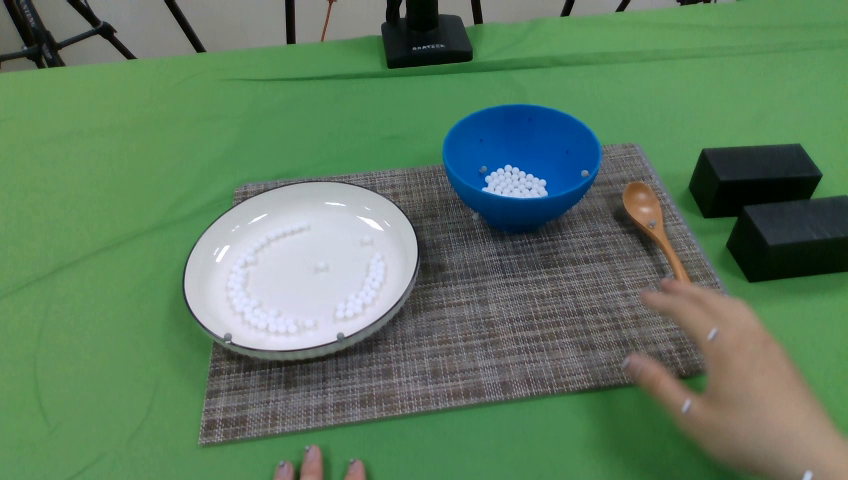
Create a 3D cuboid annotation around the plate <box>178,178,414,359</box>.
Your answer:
[{"bbox_3d":[-0.112,0.024,0.552,0.207,0.039,0.205,-1,46,2],"label":"plate"}]

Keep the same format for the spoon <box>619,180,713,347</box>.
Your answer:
[{"bbox_3d":[0.221,0.014,0.556,0.042,0.022,0.191,7,44,-15],"label":"spoon"}]

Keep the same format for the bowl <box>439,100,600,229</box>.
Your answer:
[{"bbox_3d":[0.090,-0.064,0.598,0.151,0.077,0.150,-1,46,1],"label":"bowl"}]
